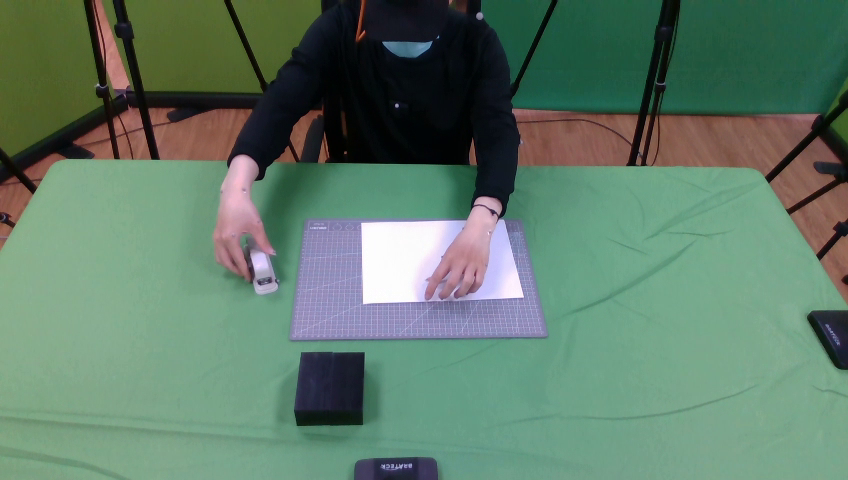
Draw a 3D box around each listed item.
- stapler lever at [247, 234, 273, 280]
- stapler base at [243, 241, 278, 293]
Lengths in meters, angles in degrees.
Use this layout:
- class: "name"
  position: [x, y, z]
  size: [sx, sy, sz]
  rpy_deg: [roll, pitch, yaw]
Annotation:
- class: "stapler lever"
  position: [-0.303, 0.025, 1.113]
  size: [0.027, 0.040, 0.117]
  rpy_deg: [-10, 47, -22]
- class: "stapler base"
  position: [-0.305, 0.043, 1.129]
  size: [0.041, 0.024, 0.129]
  rpy_deg: [-10, 45, -22]
